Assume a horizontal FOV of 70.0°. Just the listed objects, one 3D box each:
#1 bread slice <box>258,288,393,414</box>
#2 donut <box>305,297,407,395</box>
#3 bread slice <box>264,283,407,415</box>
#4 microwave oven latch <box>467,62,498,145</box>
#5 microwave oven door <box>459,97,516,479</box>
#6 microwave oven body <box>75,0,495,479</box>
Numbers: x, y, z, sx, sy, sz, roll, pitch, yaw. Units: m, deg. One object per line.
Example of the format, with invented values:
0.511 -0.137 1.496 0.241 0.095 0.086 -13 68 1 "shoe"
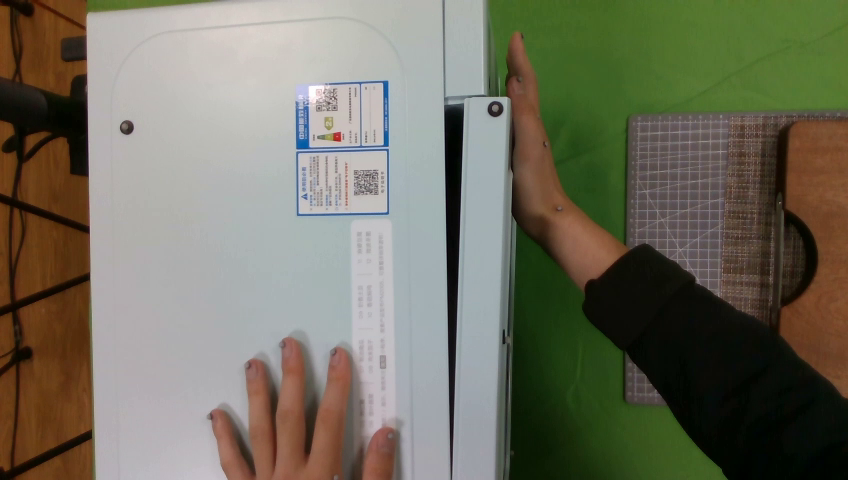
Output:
-0.087 0.097 0.536 0.134 0.018 0.107 -4 91 21 "bread slice"
-0.065 0.100 0.578 0.099 0.048 0.099 0 105 0 "donut"
-0.095 0.104 0.604 0.131 0.019 0.105 21 95 6 "bread slice"
0.061 -0.139 0.621 0.030 0.029 0.079 -1 91 9 "microwave oven latch"
0.055 0.079 0.522 0.039 0.244 0.355 1 91 10 "microwave oven door"
-0.098 0.041 0.551 0.325 0.260 0.441 -1 91 9 "microwave oven body"
